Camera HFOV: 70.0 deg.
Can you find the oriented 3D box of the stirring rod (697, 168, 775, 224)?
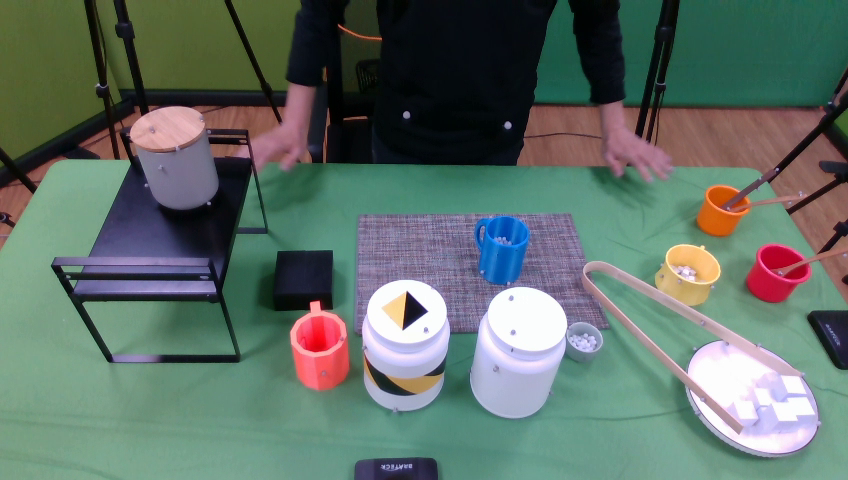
[{"bbox_3d":[0.644,-0.090,1.252,0.176,0.006,0.014,-40,53,16],"label":"stirring rod"}]

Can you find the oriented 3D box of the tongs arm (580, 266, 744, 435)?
[{"bbox_3d":[0.384,0.173,1.028,0.028,0.028,0.385,-25,46,-15],"label":"tongs arm"}]

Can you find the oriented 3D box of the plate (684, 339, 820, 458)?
[{"bbox_3d":[0.523,0.256,0.982,0.208,0.039,0.206,2,46,-2],"label":"plate"}]

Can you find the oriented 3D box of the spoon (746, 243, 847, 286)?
[{"bbox_3d":[0.703,0.042,1.127,0.194,0.022,0.041,-29,33,30],"label":"spoon"}]

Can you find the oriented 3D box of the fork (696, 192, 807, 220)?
[{"bbox_3d":[0.655,-0.069,1.224,0.207,0.019,0.028,-17,33,45],"label":"fork"}]

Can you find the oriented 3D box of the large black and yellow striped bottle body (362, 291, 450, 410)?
[{"bbox_3d":[-0.029,0.163,0.928,0.131,0.185,0.130,2,47,-2],"label":"large black and yellow striped bottle body"}]

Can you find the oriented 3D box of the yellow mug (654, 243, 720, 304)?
[{"bbox_3d":[0.504,0.054,1.154,0.099,0.064,0.130,28,49,22],"label":"yellow mug"}]

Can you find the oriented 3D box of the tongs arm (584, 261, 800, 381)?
[{"bbox_3d":[0.452,0.137,1.064,0.051,0.027,0.382,-34,50,-27],"label":"tongs arm"}]

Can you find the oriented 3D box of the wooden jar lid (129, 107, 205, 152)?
[{"bbox_3d":[-0.385,-0.163,0.915,0.108,0.021,0.107,2,47,-2],"label":"wooden jar lid"}]

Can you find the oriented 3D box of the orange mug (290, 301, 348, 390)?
[{"bbox_3d":[-0.170,0.162,0.976,0.083,0.101,0.125,-7,52,-11],"label":"orange mug"}]

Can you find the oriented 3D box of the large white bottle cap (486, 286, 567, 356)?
[{"bbox_3d":[0.147,0.114,0.869,0.115,0.018,0.114,3,46,-3],"label":"large white bottle cap"}]

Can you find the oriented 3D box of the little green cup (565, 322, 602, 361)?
[{"bbox_3d":[0.270,0.176,1.039,0.061,0.039,0.061,2,46,-2],"label":"little green cup"}]

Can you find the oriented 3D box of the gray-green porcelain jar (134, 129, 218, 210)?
[{"bbox_3d":[-0.388,-0.120,0.960,0.106,0.127,0.105,2,46,-2],"label":"gray-green porcelain jar"}]

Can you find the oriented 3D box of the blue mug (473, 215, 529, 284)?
[{"bbox_3d":[0.135,0.009,1.136,0.082,0.106,0.116,-32,56,-29],"label":"blue mug"}]

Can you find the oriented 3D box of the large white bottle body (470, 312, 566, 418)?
[{"bbox_3d":[0.143,0.173,0.930,0.131,0.185,0.130,2,46,-2],"label":"large white bottle body"}]

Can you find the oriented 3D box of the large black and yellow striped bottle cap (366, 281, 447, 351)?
[{"bbox_3d":[-0.025,0.106,0.866,0.115,0.019,0.114,2,46,-1],"label":"large black and yellow striped bottle cap"}]
